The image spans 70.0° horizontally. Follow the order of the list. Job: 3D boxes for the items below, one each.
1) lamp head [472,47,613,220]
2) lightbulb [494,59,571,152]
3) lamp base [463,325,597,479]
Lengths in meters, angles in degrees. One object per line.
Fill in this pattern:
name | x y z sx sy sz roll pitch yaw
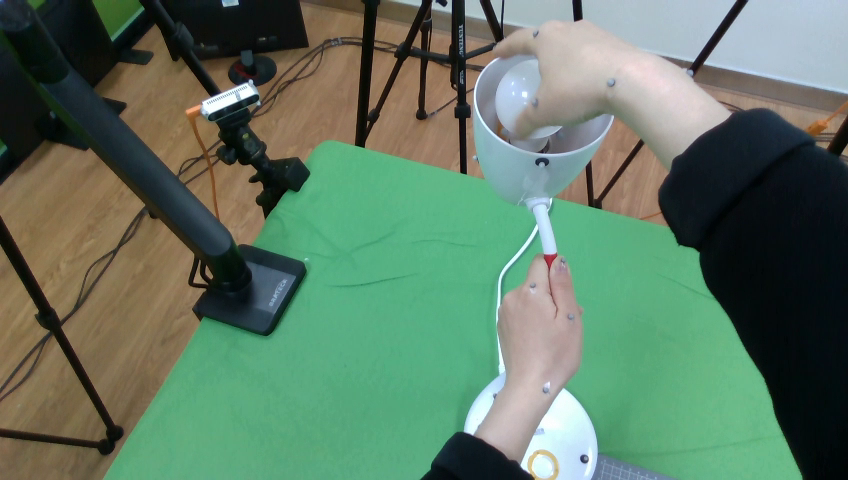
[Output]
lamp head | 0.093 -0.080 0.520 0.112 0.124 0.111 0 56 0
lightbulb | 0.086 -0.100 0.498 0.059 0.108 0.059 -1 62 2
lamp base | 0.120 0.184 0.673 0.161 0.182 0.177 -20 55 -13
